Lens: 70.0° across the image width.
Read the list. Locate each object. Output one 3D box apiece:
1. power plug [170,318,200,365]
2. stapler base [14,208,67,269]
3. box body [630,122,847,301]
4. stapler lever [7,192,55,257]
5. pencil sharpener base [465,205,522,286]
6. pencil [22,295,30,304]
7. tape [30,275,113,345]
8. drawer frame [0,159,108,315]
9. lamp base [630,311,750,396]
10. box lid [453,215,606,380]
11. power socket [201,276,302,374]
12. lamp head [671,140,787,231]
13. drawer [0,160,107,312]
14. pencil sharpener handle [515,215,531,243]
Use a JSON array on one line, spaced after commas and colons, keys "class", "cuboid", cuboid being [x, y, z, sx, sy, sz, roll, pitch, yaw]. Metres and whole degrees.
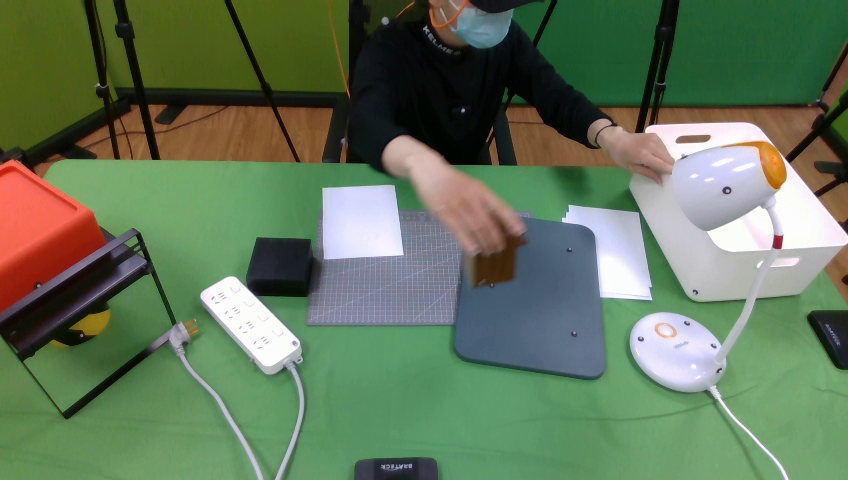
[{"class": "power plug", "cuboid": [-0.392, 0.167, 1.014, 0.052, 0.035, 0.072, -30, 91, -24]}, {"class": "stapler base", "cuboid": [-0.577, -0.010, 0.903, 0.041, 0.024, 0.130, -30, 57, -25]}, {"class": "box body", "cuboid": [0.594, -0.062, 1.202, 0.254, 0.161, 0.361, -4, 47, -7]}, {"class": "stapler lever", "cuboid": [-0.575, -0.026, 0.885, 0.027, 0.040, 0.117, -31, 56, -25]}, {"class": "pencil sharpener base", "cuboid": [0.106, 0.009, 0.925, 0.077, 0.107, 0.061, -11, 41, -9]}, {"class": "pencil", "cuboid": [-0.590, 0.010, 0.883, 0.012, 0.012, 0.193, -17, 61, -20]}, {"class": "tape", "cuboid": [-0.593, 0.117, 1.021, 0.117, 0.053, 0.116, 3, 46, -2]}, {"class": "drawer frame", "cuboid": [-0.611, 0.000, 0.863, 0.201, 0.083, 0.213, 27, 51, 20]}, {"class": "lamp base", "cuboid": [0.447, 0.143, 0.983, 0.161, 0.181, 0.178, -24, 55, -24]}, {"class": "box lid", "cuboid": [0.200, 0.085, 1.138, 0.263, 0.015, 0.369, 8, 47, 3]}, {"class": "power socket", "cuboid": [-0.297, 0.141, 1.034, 0.072, 0.033, 0.225, -34, 58, -30]}, {"class": "lamp head", "cuboid": [0.415, -0.078, 0.811, 0.113, 0.123, 0.112, 12, 70, -37]}, {"class": "drawer", "cuboid": [-0.610, -0.001, 0.866, 0.194, 0.073, 0.211, 29, 52, 21]}, {"class": "pencil sharpener handle", "cuboid": [0.154, -0.014, 0.928, 0.031, 0.068, 0.036, -11, 63, -9]}]
